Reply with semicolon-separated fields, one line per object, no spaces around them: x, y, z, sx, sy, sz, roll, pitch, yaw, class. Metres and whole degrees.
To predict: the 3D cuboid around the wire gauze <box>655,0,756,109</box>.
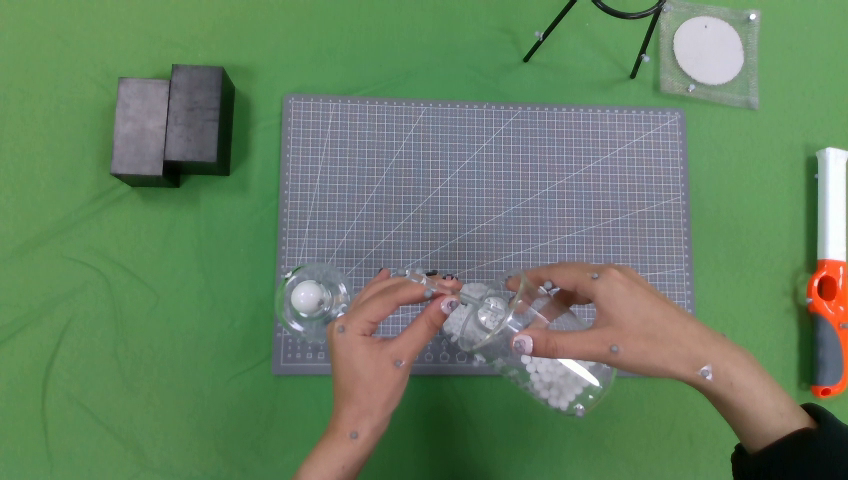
0.328;-0.220;0.706;0.125;0.011;0.121;7;82;-5;wire gauze

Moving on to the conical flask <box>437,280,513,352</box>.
0.055;0.071;0.583;0.075;0.122;0.075;1;81;-4;conical flask

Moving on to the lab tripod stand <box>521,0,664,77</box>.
0.182;-0.240;0.634;0.148;0.131;0.148;0;84;-4;lab tripod stand

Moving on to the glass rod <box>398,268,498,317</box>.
0.025;0.043;0.468;0.008;0.201;0.008;-6;74;23;glass rod

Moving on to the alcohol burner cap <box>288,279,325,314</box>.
-0.105;0.050;0.541;0.034;0.048;0.034;1;85;-7;alcohol burner cap

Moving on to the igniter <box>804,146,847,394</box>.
0.446;0.031;0.670;0.057;0.025;0.275;8;81;-14;igniter

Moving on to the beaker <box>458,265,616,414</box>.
0.085;0.077;0.457;0.100;0.083;0.074;37;84;-11;beaker

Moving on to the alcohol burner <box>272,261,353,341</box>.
-0.108;0.056;0.576;0.078;0.119;0.077;0;81;-2;alcohol burner
